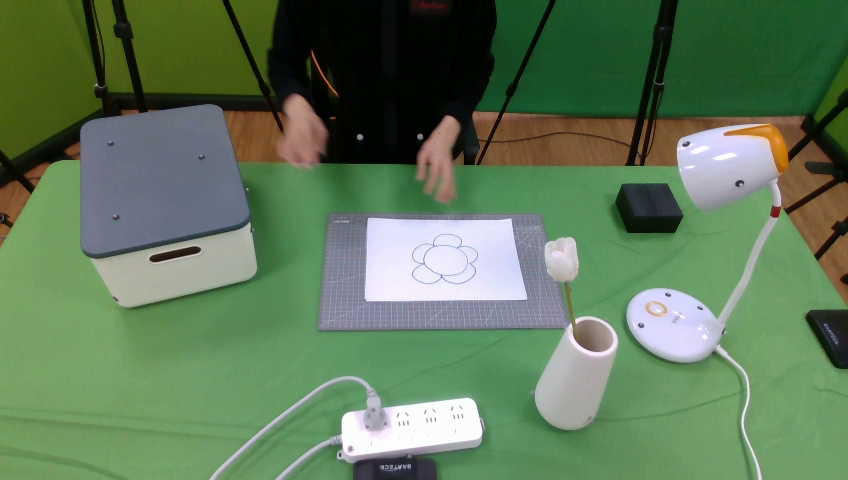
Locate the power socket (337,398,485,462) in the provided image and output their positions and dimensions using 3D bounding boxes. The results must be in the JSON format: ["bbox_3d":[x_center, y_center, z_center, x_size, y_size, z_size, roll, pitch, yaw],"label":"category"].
[{"bbox_3d":[-0.018,0.285,0.914,0.227,0.033,0.071,-4,46,-8],"label":"power socket"}]

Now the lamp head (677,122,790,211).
[{"bbox_3d":[0.423,-0.104,0.819,0.122,0.113,0.112,-13,33,40],"label":"lamp head"}]

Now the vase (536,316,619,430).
[{"bbox_3d":[0.229,0.200,0.901,0.098,0.201,0.097,3,46,-3],"label":"vase"}]

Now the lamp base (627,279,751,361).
[{"bbox_3d":[0.460,0.100,1.027,0.178,0.181,0.160,27,51,17],"label":"lamp base"}]

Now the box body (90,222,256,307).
[{"bbox_3d":[-0.471,-0.070,1.131,0.254,0.161,0.361,-14,49,-17],"label":"box body"}]

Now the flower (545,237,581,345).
[{"bbox_3d":[0.213,0.137,0.846,0.038,0.364,0.044,22,55,40],"label":"flower"}]

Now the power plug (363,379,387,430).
[{"bbox_3d":[-0.071,0.252,0.911,0.035,0.053,0.072,3,40,0],"label":"power plug"}]

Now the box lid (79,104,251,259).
[{"bbox_3d":[-0.467,-0.120,1.076,0.264,0.015,0.369,-13,49,-17],"label":"box lid"}]
